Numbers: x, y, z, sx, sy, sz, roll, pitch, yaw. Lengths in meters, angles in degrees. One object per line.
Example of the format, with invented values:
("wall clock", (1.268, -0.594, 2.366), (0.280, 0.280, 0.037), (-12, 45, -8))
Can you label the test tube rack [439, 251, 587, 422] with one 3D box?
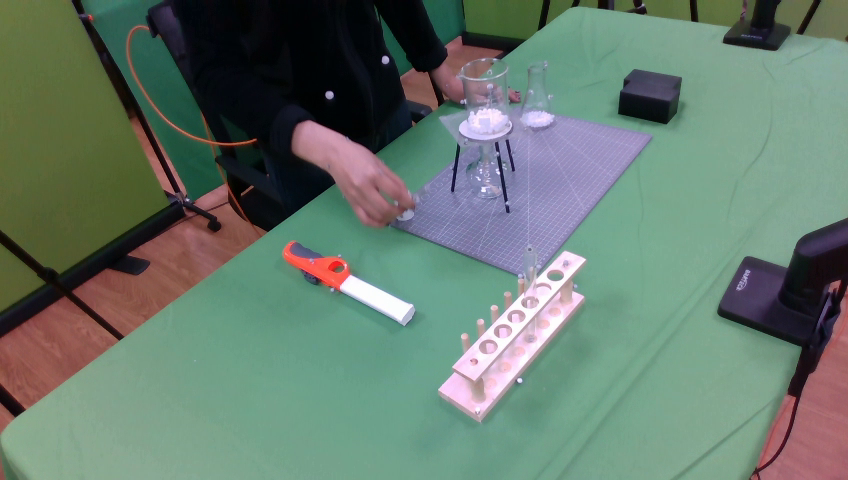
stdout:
("test tube rack", (0.118, 0.111, 0.780), (0.066, 0.085, 0.243), (26, 51, 35))

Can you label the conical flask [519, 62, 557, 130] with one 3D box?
("conical flask", (0.225, -0.287, 1.198), (0.075, 0.122, 0.075), (-6, 40, 5))

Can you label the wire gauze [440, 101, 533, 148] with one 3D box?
("wire gauze", (0.100, -0.189, 0.995), (0.125, 0.011, 0.120), (-16, 38, -6))

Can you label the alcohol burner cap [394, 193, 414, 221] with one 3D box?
("alcohol burner cap", (-0.036, -0.059, 1.040), (0.034, 0.048, 0.033), (-5, 41, 5))

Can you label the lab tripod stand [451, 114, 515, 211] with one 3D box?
("lab tripod stand", (0.113, -0.140, 1.037), (0.148, 0.132, 0.147), (-6, 38, 5))

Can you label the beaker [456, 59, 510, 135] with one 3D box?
("beaker", (0.098, -0.226, 0.964), (0.084, 0.101, 0.073), (-7, 39, 4))

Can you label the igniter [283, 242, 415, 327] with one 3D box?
("igniter", (-0.126, 0.062, 0.931), (0.274, 0.025, 0.057), (24, 61, 33))

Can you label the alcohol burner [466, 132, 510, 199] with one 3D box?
("alcohol burner", (0.110, -0.132, 1.044), (0.078, 0.119, 0.077), (-6, 38, 5))

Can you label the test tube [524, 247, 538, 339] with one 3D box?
("test tube", (0.133, 0.070, 0.749), (0.017, 0.151, 0.017), (-5, 38, 4))

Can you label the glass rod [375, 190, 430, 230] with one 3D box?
("glass rod", (-0.036, -0.042, 0.904), (0.008, 0.008, 0.199), (-38, 4, -29))
